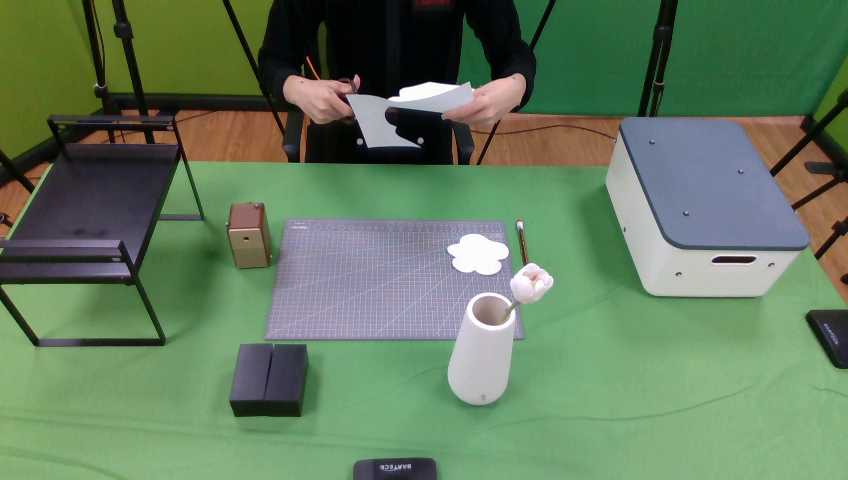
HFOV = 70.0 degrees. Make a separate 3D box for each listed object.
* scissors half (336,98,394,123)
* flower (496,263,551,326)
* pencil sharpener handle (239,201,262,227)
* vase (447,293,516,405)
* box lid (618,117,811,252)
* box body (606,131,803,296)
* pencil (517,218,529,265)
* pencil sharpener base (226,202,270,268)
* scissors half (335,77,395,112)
[{"bbox_3d":[-0.105,-0.231,1.068,0.013,0.040,0.174,-16,13,-37],"label":"scissors half"},{"bbox_3d":[0.102,0.120,0.853,0.044,0.363,0.038,-2,64,-10],"label":"flower"},{"bbox_3d":[-0.325,-0.055,1.150,0.036,0.068,0.030,-13,46,4],"label":"pencil sharpener handle"},{"bbox_3d":[0.091,0.169,0.921,0.098,0.201,0.097,3,47,-3],"label":"vase"},{"bbox_3d":[0.534,-0.117,1.149,0.263,0.015,0.369,0,47,-3],"label":"box lid"},{"bbox_3d":[0.530,-0.067,1.204,0.254,0.161,0.361,1,46,-4],"label":"box body"},{"bbox_3d":[0.201,0.028,1.196,0.012,0.012,0.193,1,48,-4],"label":"pencil"},{"bbox_3d":[-0.323,-0.010,1.123,0.061,0.107,0.076,-3,46,-7],"label":"pencil sharpener base"},{"bbox_3d":[-0.106,-0.252,1.061,0.013,0.040,0.174,-22,40,-35],"label":"scissors half"}]
